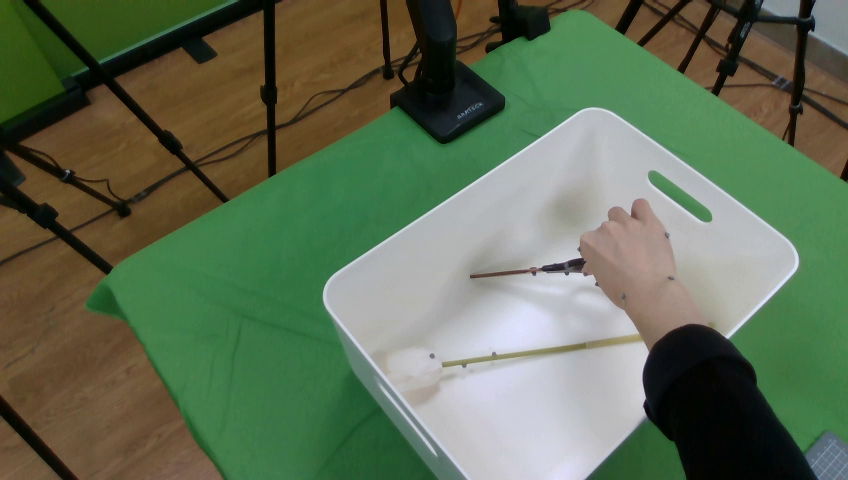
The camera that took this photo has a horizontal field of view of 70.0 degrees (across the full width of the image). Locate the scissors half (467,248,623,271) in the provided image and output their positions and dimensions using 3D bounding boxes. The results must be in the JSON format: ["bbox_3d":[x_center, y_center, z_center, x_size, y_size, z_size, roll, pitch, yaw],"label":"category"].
[{"bbox_3d":[0.124,0.024,0.654,0.174,0.040,0.013,-9,84,32],"label":"scissors half"}]

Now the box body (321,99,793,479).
[{"bbox_3d":[0.121,0.063,0.591,0.364,0.162,0.252,-35,64,-21],"label":"box body"}]

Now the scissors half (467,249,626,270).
[{"bbox_3d":[0.133,0.025,0.673,0.175,0.040,0.013,-6,80,15],"label":"scissors half"}]

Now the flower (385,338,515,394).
[{"bbox_3d":[0.123,0.103,0.668,0.363,0.044,0.038,-10,30,-30],"label":"flower"}]
